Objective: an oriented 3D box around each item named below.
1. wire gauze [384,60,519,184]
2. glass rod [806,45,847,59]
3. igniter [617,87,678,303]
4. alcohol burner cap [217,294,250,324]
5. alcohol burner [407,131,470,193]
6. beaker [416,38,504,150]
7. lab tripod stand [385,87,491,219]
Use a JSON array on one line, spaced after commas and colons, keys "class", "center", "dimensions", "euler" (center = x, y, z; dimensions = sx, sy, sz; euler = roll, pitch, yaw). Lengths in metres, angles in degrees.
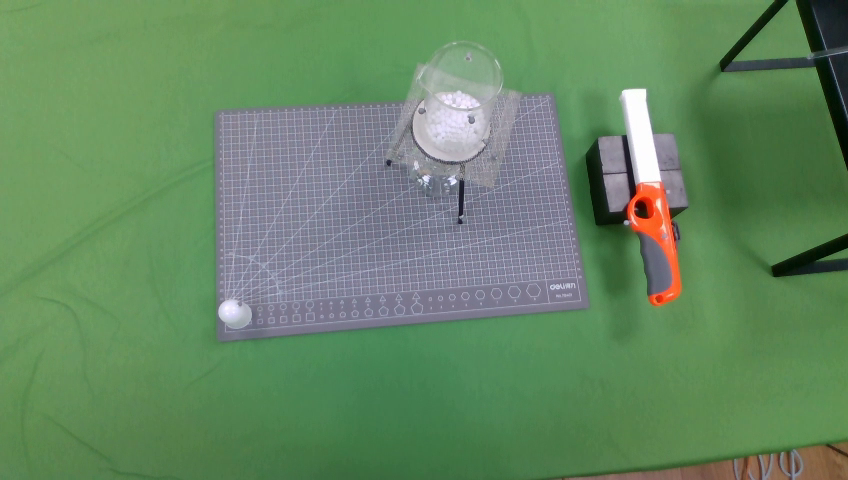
[{"class": "wire gauze", "center": [0.033, -0.129, 0.658], "dimensions": [0.121, 0.011, 0.124], "euler": [18, 70, -1]}, {"class": "glass rod", "center": [0.511, -0.221, 0.668], "dimensions": [0.200, 0.008, 0.008], "euler": [-13, 75, -7]}, {"class": "igniter", "center": [0.270, -0.060, 0.735], "dimensions": [0.057, 0.025, 0.275], "euler": [-2, 74, -2]}, {"class": "alcohol burner cap", "center": [-0.222, 0.077, 0.698], "dimensions": [0.034, 0.048, 0.033], "euler": [1, 74, -5]}, {"class": "alcohol burner", "center": [0.018, -0.101, 0.728], "dimensions": [0.078, 0.119, 0.077], "euler": [1, 76, -3]}, {"class": "beaker", "center": [0.032, -0.142, 0.611], "dimensions": [0.084, 0.101, 0.073], "euler": [-4, 73, -4]}, {"class": "lab tripod stand", "center": [0.026, -0.114, 0.721], "dimensions": [0.148, 0.132, 0.147], "euler": [1, 72, -3]}]
